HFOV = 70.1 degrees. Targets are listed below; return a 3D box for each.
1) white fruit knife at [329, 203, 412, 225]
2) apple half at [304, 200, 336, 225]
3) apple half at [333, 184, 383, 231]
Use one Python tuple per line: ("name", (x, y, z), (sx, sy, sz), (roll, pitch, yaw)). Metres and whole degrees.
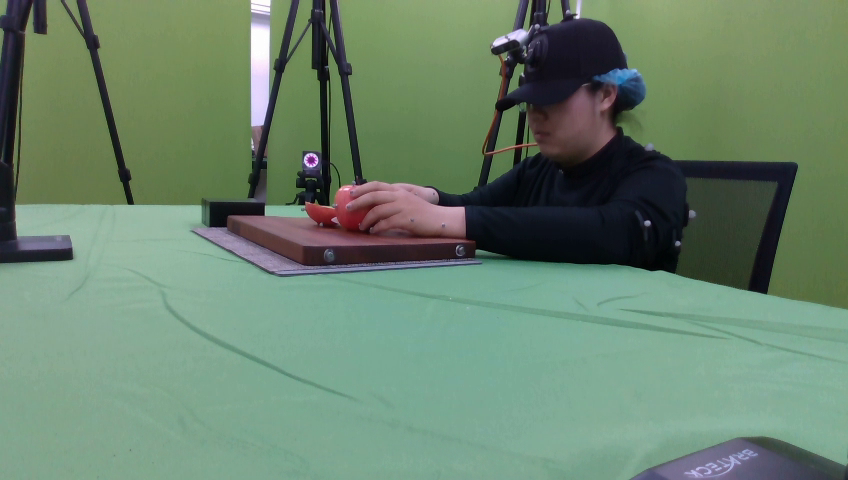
("white fruit knife", (-0.086, -0.044, 1.021), (0.016, 0.027, 0.208), (6, 11, 34))
("apple half", (-0.161, -0.039, 0.999), (0.081, 0.033, 0.081), (16, -2, 1))
("apple half", (-0.096, -0.050, 0.949), (0.081, 0.074, 0.053), (0, 11, -45))
